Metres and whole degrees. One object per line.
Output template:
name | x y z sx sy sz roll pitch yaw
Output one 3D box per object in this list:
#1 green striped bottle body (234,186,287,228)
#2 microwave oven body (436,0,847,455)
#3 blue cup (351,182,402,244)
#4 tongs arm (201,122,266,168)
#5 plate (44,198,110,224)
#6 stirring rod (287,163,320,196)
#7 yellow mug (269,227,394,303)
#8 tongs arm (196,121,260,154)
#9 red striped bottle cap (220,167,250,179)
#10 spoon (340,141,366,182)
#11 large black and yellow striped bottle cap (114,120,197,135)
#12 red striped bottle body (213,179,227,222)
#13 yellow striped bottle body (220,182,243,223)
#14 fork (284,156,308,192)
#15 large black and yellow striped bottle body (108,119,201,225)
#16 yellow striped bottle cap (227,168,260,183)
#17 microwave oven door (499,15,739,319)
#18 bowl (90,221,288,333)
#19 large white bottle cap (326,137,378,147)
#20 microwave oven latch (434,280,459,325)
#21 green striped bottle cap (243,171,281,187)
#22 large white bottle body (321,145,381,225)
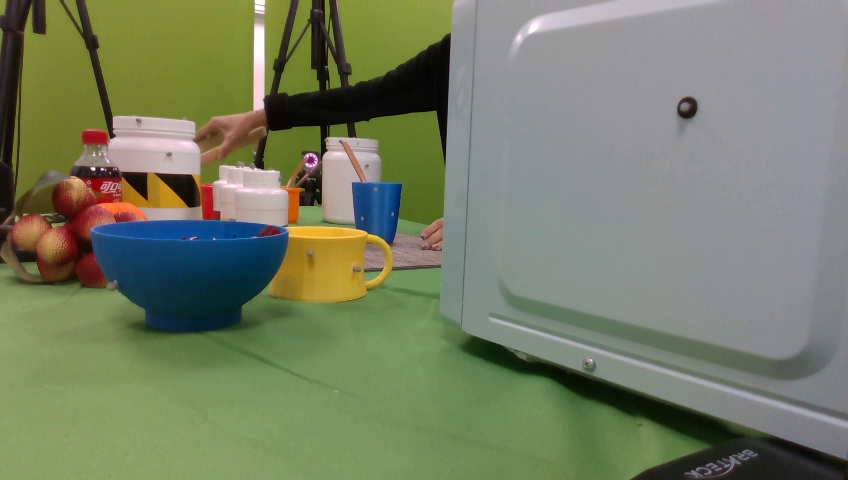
green striped bottle body | -0.200 -0.023 0.743 0.063 0.119 0.063 2 7 0
microwave oven body | 0.279 -0.040 0.465 0.444 0.260 0.324 -3 9 -41
blue cup | -0.080 -0.046 1.012 0.093 0.100 0.092 1 7 0
tongs arm | -0.466 -0.180 1.292 0.050 0.026 0.386 13 33 28
plate | -0.617 -0.056 1.179 0.209 0.038 0.209 3 7 0
stirring rod | -0.283 -0.108 1.297 0.014 0.006 0.176 10 52 50
yellow mug | -0.094 0.023 0.629 0.131 0.064 0.099 0 7 -22
tongs arm | -0.498 -0.188 1.307 0.028 0.028 0.388 9 32 29
red striped bottle cap | -0.281 -0.100 0.901 0.044 0.017 0.044 0 5 0
spoon | -0.103 -0.089 1.028 0.021 0.193 0.042 -32 -19 35
large black and yellow striped bottle cap | -0.407 -0.171 0.920 0.115 0.019 0.115 2 9 0
red striped bottle body | -0.284 -0.048 0.910 0.063 0.119 0.063 3 12 0
yellow striped bottle body | -0.245 -0.036 0.825 0.063 0.120 0.063 3 8 0
fork | -0.295 -0.117 1.322 0.028 0.019 0.207 -2 49 23
large black and yellow striped bottle body | -0.412 -0.088 0.930 0.131 0.184 0.130 3 7 0
yellow striped bottle cap | -0.243 -0.087 0.818 0.044 0.018 0.044 3 6 0
microwave oven door | 0.216 -0.065 0.602 0.358 0.243 0.039 -4 11 -41
bowl | -0.190 0.029 0.500 0.151 0.077 0.151 3 7 0
large white bottle cap | -0.158 -0.214 1.328 0.115 0.018 0.115 3 9 0
microwave oven latch | 0.044 0.045 0.470 0.079 0.029 0.030 -2 8 -39
green striped bottle cap | -0.198 -0.074 0.736 0.044 0.020 0.044 1 7 0
large white bottle body | -0.162 -0.131 1.341 0.131 0.184 0.130 2 8 0
